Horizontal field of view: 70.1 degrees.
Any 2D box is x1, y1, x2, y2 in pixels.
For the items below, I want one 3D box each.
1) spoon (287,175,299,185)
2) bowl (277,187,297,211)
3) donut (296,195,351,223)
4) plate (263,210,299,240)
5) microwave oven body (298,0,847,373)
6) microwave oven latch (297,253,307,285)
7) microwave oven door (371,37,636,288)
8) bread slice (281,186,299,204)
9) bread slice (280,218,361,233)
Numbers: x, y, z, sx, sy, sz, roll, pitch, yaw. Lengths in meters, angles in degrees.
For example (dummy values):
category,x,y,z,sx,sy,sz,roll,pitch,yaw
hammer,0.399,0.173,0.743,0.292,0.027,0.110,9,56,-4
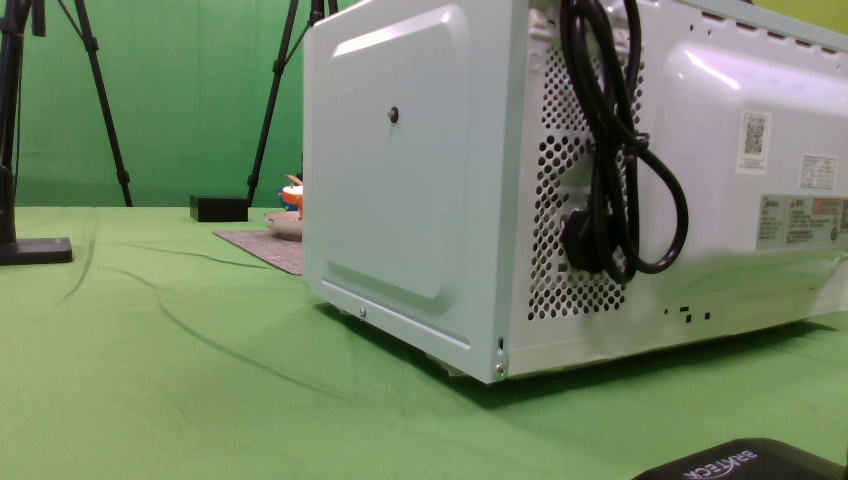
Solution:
category,x,y,z,sx,sy,sz,roll,pitch,yaw
spoon,-0.262,-0.110,1.342,0.042,0.021,0.192,-5,32,-34
bowl,-0.241,-0.073,1.303,0.151,0.077,0.151,2,7,0
donut,-0.179,-0.057,1.078,0.099,0.048,0.099,4,1,0
plate,-0.180,-0.025,1.079,0.208,0.039,0.207,3,7,0
microwave oven body,0.151,-0.055,0.542,0.444,0.260,0.324,-1,7,-33
microwave oven latch,-0.082,0.027,0.582,0.079,0.029,0.030,-2,8,-33
microwave oven door,0.109,-0.080,0.686,0.358,0.243,0.039,-2,9,-33
bread slice,-0.185,-0.082,1.071,0.132,0.019,0.104,-2,14,-18
bread slice,-0.187,-0.026,1.075,0.135,0.018,0.106,-1,7,-22
